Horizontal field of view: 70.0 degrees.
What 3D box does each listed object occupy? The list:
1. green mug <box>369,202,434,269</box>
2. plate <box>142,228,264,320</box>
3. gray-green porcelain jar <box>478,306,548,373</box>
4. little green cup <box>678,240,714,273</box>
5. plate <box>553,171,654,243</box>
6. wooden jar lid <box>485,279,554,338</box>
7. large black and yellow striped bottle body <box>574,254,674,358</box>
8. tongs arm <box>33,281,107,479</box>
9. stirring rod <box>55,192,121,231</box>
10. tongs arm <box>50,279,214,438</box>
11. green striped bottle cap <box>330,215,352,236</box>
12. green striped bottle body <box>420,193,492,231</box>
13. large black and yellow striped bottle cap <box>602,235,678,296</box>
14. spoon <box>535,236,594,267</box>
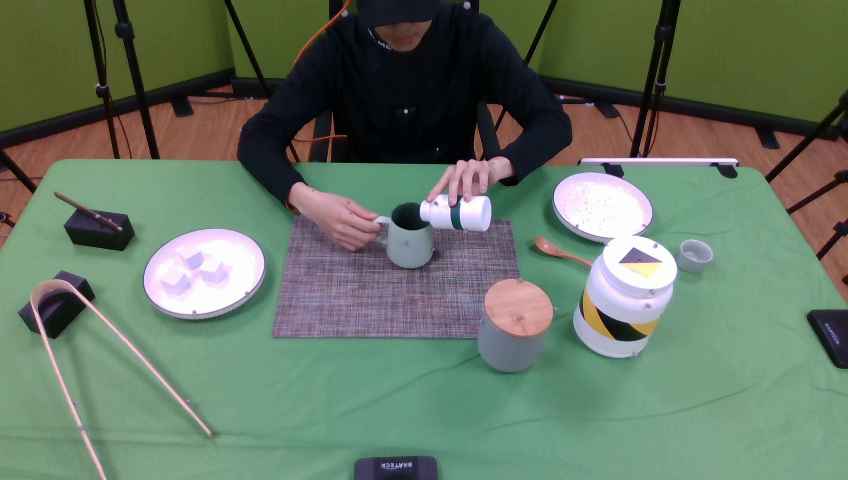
[{"bbox_3d":[-0.042,-0.010,1.140,0.125,0.105,0.092,7,47,3],"label":"green mug"},{"bbox_3d":[-0.394,0.064,1.095,0.208,0.039,0.206,2,46,-2],"label":"plate"},{"bbox_3d":[0.144,0.148,0.989,0.106,0.127,0.105,2,50,-2],"label":"gray-green porcelain jar"},{"bbox_3d":[0.530,0.033,1.190,0.061,0.039,0.061,1,46,-1],"label":"little green cup"},{"bbox_3d":[0.373,-0.066,1.275,0.209,0.038,0.208,2,46,-2],"label":"plate"},{"bbox_3d":[0.147,0.108,0.940,0.108,0.021,0.107,4,47,-4],"label":"wooden jar lid"},{"bbox_3d":[0.335,0.096,1.014,0.131,0.185,0.130,2,46,-2],"label":"large black and yellow striped bottle body"},{"bbox_3d":[-0.517,0.214,0.910,0.051,0.026,0.383,-28,63,-27],"label":"tongs arm"},{"bbox_3d":[-0.632,-0.055,1.138,0.175,0.014,0.006,24,50,19],"label":"stirring rod"},{"bbox_3d":[-0.459,0.178,0.949,0.386,0.028,0.028,37,60,17],"label":"tongs arm"},{"bbox_3d":[-0.167,-0.029,1.214,0.044,0.020,0.044,1,51,-1],"label":"green striped bottle cap"},{"bbox_3d":[0.055,-0.050,1.068,0.119,0.063,0.063,4,43,23],"label":"green striped bottle body"},{"bbox_3d":[0.340,0.037,0.955,0.115,0.019,0.114,2,47,-1],"label":"large black and yellow striped bottle cap"},{"bbox_3d":[0.303,0.040,1.178,0.193,0.022,0.041,25,30,19],"label":"spoon"}]
